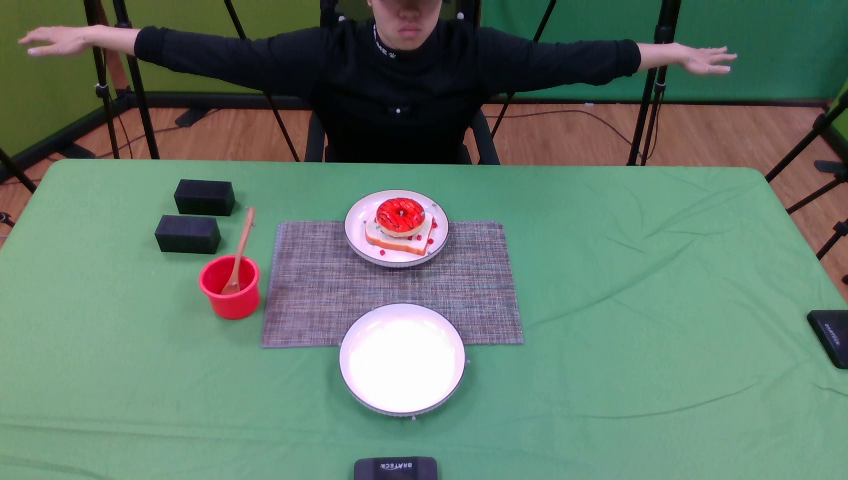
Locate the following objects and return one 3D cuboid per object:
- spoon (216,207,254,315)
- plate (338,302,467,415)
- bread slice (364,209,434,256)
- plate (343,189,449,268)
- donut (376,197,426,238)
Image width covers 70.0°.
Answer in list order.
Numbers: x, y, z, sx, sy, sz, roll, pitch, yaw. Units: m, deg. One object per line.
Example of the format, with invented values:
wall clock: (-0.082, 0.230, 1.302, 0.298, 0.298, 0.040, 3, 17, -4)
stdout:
spoon: (-0.322, 0.036, 1.053, 0.041, 0.021, 0.193, 14, 90, 11)
plate: (-0.035, 0.194, 0.992, 0.208, 0.039, 0.206, 2, 48, -2)
bread slice: (-0.053, -0.020, 1.199, 0.131, 0.019, 0.104, 10, 46, 4)
plate: (-0.055, -0.020, 1.195, 0.209, 0.038, 0.208, 2, 46, -2)
donut: (-0.045, -0.046, 1.174, 0.099, 0.048, 0.098, 3, 45, -3)
